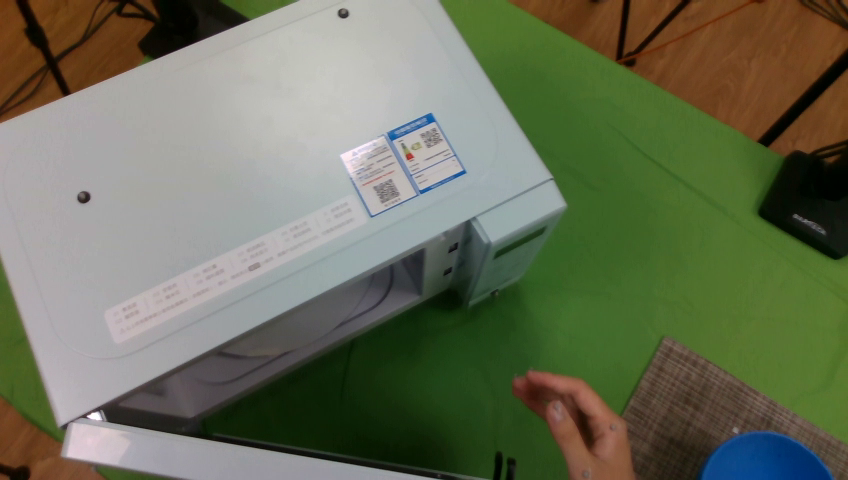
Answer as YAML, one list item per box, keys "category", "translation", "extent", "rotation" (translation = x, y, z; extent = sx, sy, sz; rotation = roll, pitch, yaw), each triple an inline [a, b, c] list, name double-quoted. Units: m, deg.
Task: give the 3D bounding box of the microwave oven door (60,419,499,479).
- category: "microwave oven door"
  translation: [-0.093, 0.207, 0.550]
  extent: [0.356, 0.245, 0.039]
  rotation: [9, 72, 1]

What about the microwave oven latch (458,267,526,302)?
- category: "microwave oven latch"
  translation: [0.081, 0.044, 0.719]
  extent: [0.079, 0.029, 0.030]
  rotation: [-25, 74, -9]

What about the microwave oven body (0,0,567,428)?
- category: "microwave oven body"
  translation: [-0.144, -0.032, 0.635]
  extent: [0.442, 0.261, 0.324]
  rotation: [-27, 75, -10]

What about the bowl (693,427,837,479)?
- category: "bowl"
  translation: [0.349, 0.278, 0.643]
  extent: [0.151, 0.077, 0.150]
  rotation: [1, 71, -1]
